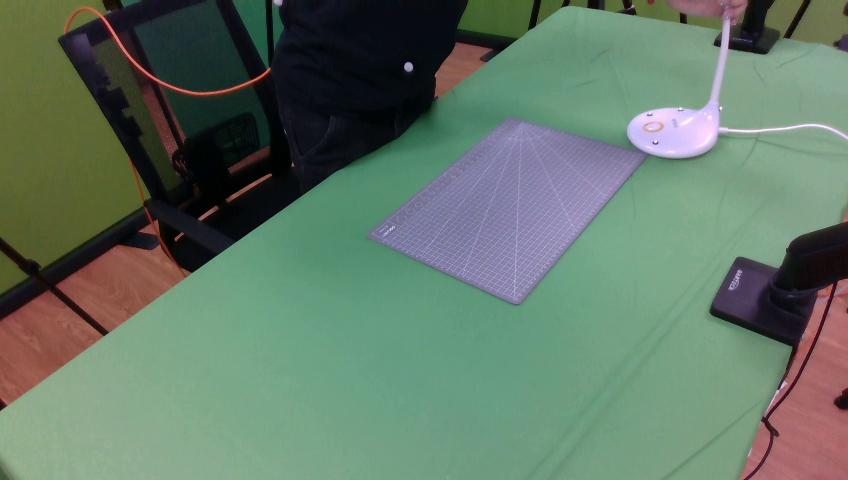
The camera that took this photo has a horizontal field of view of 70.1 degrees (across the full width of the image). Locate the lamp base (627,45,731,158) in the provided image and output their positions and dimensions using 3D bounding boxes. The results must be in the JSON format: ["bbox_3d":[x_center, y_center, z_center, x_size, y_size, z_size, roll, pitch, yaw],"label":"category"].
[{"bbox_3d":[0.469,-0.262,1.085,0.179,0.181,0.159,-4,41,-1],"label":"lamp base"}]
